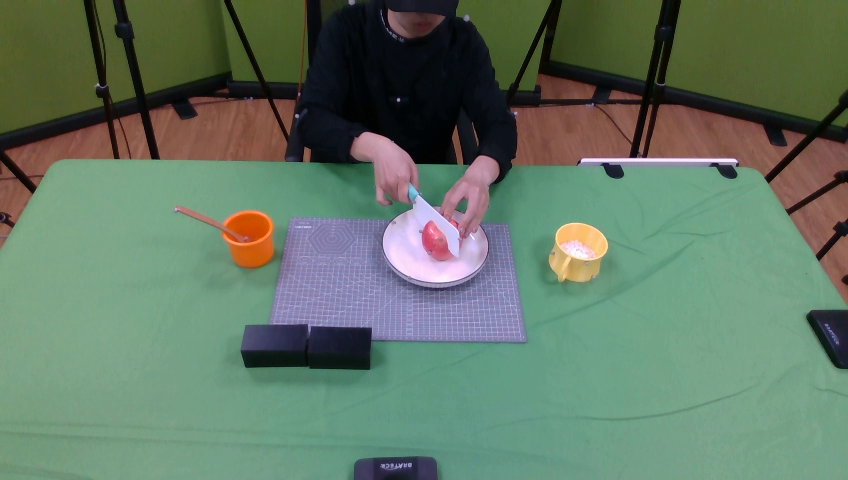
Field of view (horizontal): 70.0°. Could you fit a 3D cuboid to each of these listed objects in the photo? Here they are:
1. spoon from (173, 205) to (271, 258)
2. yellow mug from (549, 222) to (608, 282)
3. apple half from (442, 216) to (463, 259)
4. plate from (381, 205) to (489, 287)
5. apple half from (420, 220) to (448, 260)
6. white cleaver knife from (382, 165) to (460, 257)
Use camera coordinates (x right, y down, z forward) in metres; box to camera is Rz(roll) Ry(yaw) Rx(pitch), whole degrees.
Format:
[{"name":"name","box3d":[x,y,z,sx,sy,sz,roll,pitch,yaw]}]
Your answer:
[{"name":"spoon","box3d":[-0.362,-0.017,1.098,0.021,0.195,0.041,-33,42,27]},{"name":"yellow mug","box3d":[0.287,0.031,1.159,0.099,0.064,0.130,28,51,21]},{"name":"apple half","box3d":[0.046,-0.007,1.157,0.053,0.075,0.080,-19,47,-26]},{"name":"plate","box3d":[0.020,0.015,1.170,0.209,0.038,0.208,2,46,-2]},{"name":"apple half","box3d":[0.012,0.007,1.140,0.033,0.081,0.081,-22,52,-25]},{"name":"white cleaver knife","box3d":[-0.011,-0.061,1.169,0.021,0.066,0.284,-15,41,-26]}]
